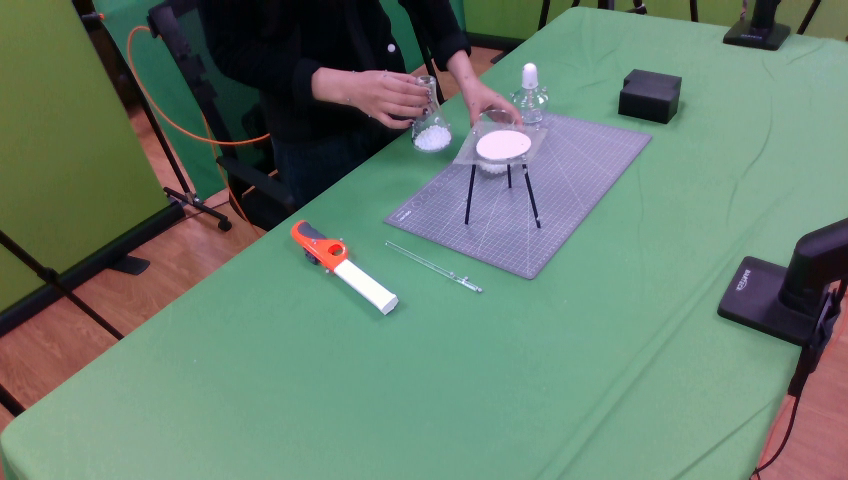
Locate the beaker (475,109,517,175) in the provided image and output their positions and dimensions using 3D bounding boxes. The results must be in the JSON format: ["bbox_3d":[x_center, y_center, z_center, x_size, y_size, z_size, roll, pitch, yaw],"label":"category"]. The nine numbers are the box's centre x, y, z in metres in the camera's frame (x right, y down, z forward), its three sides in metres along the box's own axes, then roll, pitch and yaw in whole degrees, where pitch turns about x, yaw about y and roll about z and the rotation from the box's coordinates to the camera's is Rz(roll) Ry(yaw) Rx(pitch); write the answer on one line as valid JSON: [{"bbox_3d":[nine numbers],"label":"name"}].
[{"bbox_3d":[0.131,-0.174,1.101,0.073,0.101,0.084,17,47,29],"label":"beaker"}]

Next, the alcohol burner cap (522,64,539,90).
[{"bbox_3d":[0.210,-0.325,1.195,0.034,0.048,0.033,-6,45,7],"label":"alcohol burner cap"}]

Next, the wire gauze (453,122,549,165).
[{"bbox_3d":[0.122,-0.150,0.942,0.121,0.011,0.125,8,42,21],"label":"wire gauze"}]

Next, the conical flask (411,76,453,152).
[{"bbox_3d":[0.008,-0.219,1.043,0.075,0.122,0.075,-5,40,5],"label":"conical flask"}]

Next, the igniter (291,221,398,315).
[{"bbox_3d":[-0.136,0.037,0.962,0.057,0.025,0.274,-40,48,-18],"label":"igniter"}]

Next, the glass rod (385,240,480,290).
[{"bbox_3d":[0.009,0.037,0.950,0.198,0.008,0.008,26,52,35],"label":"glass rod"}]

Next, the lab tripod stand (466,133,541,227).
[{"bbox_3d":[0.129,-0.099,0.985,0.148,0.132,0.147,-6,38,6],"label":"lab tripod stand"}]

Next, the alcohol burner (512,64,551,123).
[{"bbox_3d":[0.215,-0.298,1.220,0.078,0.120,0.077,-7,40,7],"label":"alcohol burner"}]
